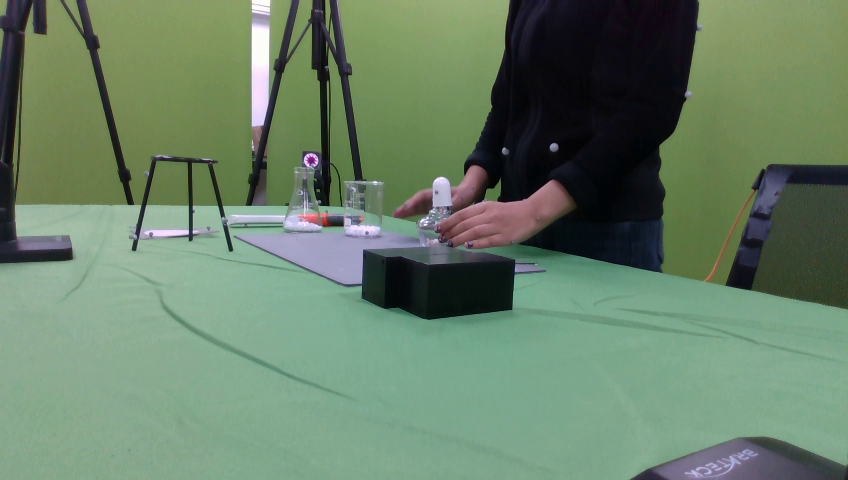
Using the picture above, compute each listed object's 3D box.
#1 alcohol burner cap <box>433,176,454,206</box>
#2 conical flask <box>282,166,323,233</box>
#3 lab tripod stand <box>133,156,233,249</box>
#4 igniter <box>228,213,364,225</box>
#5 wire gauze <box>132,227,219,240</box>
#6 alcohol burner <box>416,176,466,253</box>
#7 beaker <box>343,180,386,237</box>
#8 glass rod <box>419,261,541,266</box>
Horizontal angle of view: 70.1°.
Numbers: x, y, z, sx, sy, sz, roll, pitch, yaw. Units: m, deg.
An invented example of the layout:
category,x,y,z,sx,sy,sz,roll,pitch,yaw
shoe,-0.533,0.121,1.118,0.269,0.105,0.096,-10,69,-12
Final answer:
category,x,y,z,sx,sy,sz,roll,pitch,yaw
alcohol burner cap,0.027,-0.075,0.930,0.034,0.048,0.034,-5,5,1
conical flask,-0.225,-0.076,1.129,0.075,0.122,0.075,2,8,0
lab tripod stand,-0.342,-0.054,0.878,0.148,0.131,0.148,4,6,0
igniter,-0.252,-0.043,1.227,0.278,0.025,0.057,-2,-3,-32
wire gauze,-0.421,-0.014,1.024,0.122,0.011,0.124,-2,7,-34
alcohol burner,0.027,-0.040,0.934,0.078,0.119,0.078,3,10,0
beaker,-0.111,-0.058,1.090,0.083,0.100,0.074,7,8,34
glass rod,0.080,0.031,0.807,0.201,0.008,0.008,1,6,-32
